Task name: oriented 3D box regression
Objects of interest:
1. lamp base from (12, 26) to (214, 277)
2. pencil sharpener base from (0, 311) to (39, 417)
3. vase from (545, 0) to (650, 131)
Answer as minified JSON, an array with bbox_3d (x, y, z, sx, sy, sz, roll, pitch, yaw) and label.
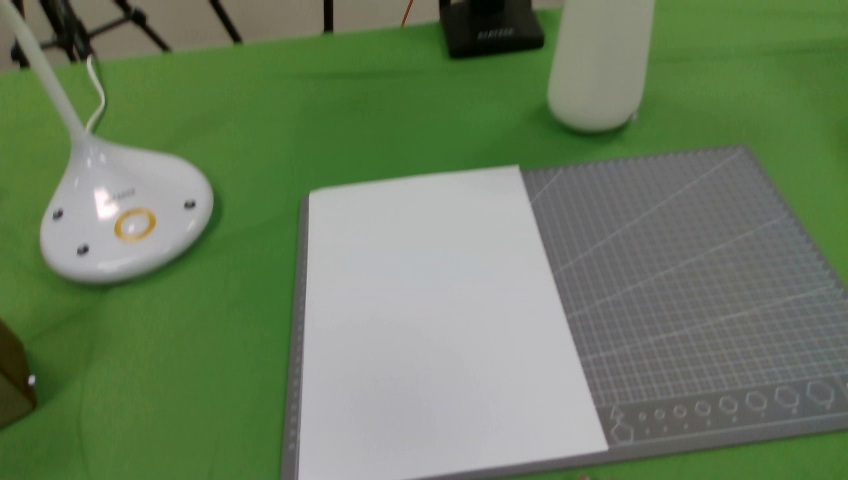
[{"bbox_3d":[-0.299,-0.085,0.534,0.160,0.182,0.177,-37,52,-26],"label":"lamp base"},{"bbox_3d":[-0.342,0.077,0.438,0.061,0.108,0.076,-29,51,-20],"label":"pencil sharpener base"},{"bbox_3d":[0.173,-0.207,0.595,0.098,0.202,0.097,-3,46,4],"label":"vase"}]
